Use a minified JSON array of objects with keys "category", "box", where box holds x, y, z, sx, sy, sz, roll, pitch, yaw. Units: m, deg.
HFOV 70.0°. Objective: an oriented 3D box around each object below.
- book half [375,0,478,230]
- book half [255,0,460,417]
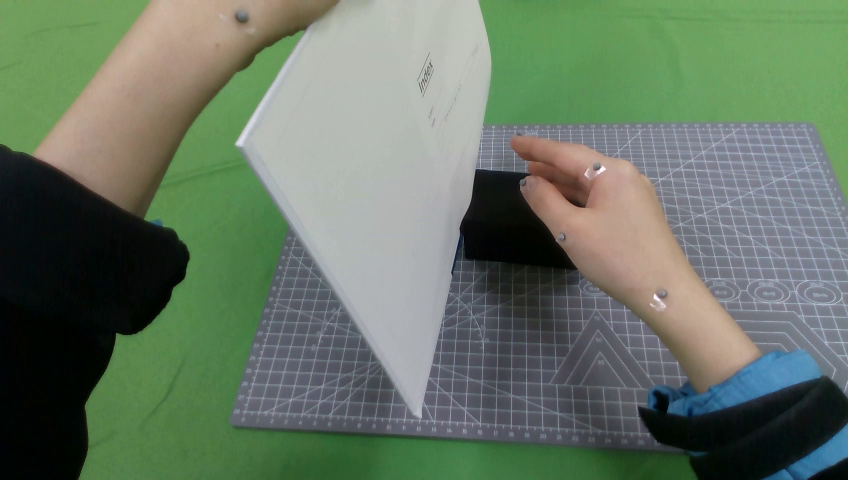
[{"category":"book half","box":[0.005,-0.127,0.401,0.016,0.212,0.147,-1,51,18]},{"category":"book half","box":[-0.014,-0.017,0.313,0.007,0.212,0.142,-2,51,17]}]
